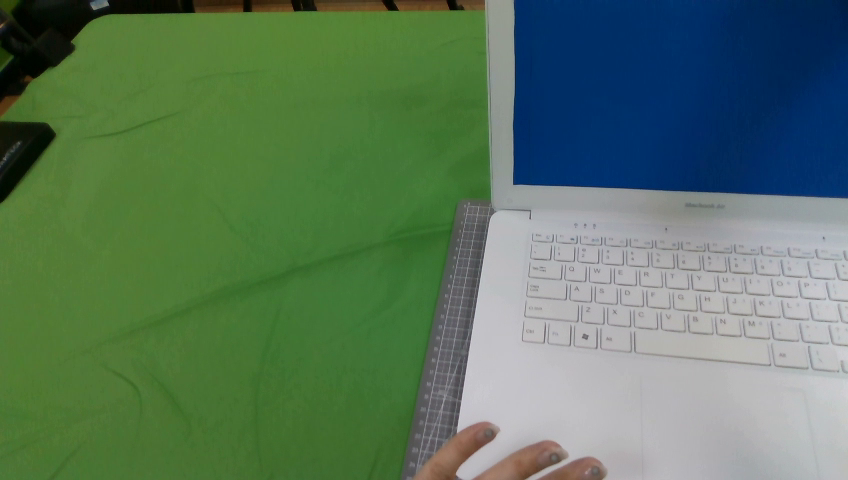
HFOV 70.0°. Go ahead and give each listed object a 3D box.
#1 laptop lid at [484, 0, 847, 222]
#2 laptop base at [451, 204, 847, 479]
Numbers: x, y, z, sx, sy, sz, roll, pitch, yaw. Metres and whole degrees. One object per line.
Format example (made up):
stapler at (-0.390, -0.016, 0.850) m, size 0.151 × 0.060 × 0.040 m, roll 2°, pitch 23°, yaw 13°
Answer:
laptop lid at (0.219, -0.107, 0.431) m, size 0.356 × 0.244 × 0.013 m, roll 2°, pitch 41°, yaw 13°
laptop base at (0.209, 0.076, 0.440) m, size 0.353 × 0.023 × 0.233 m, roll 4°, pitch 56°, yaw 12°
